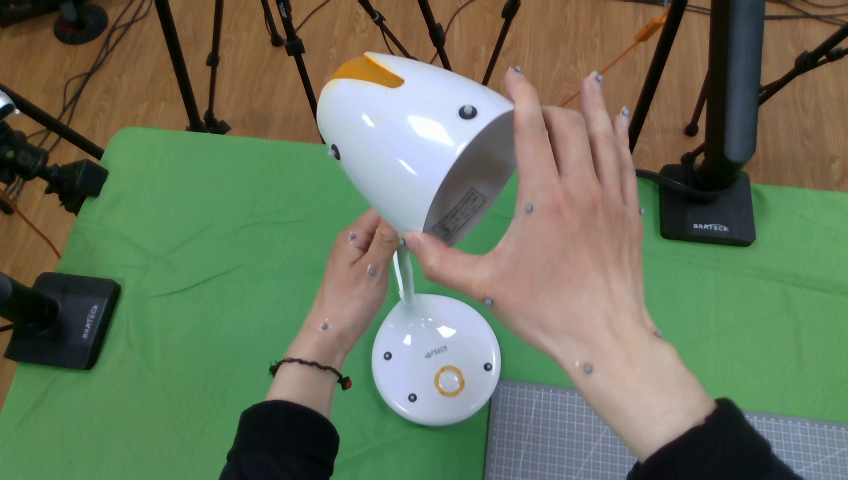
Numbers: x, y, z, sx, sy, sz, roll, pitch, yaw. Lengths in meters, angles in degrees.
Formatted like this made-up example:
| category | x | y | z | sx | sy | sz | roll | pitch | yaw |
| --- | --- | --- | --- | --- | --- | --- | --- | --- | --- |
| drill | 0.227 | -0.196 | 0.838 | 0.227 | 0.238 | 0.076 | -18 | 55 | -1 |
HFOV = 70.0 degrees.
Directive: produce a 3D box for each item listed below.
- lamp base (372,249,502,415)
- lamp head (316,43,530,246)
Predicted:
| category | x | y | z | sx | sy | sz | roll | pitch | yaw |
| --- | --- | --- | --- | --- | --- | --- | --- | --- | --- |
| lamp base | 0.005 | 0.094 | 0.684 | 0.160 | 0.181 | 0.177 | -32 | 66 | -12 |
| lamp head | -0.009 | -0.070 | 0.397 | 0.122 | 0.113 | 0.112 | 35 | 72 | 24 |
